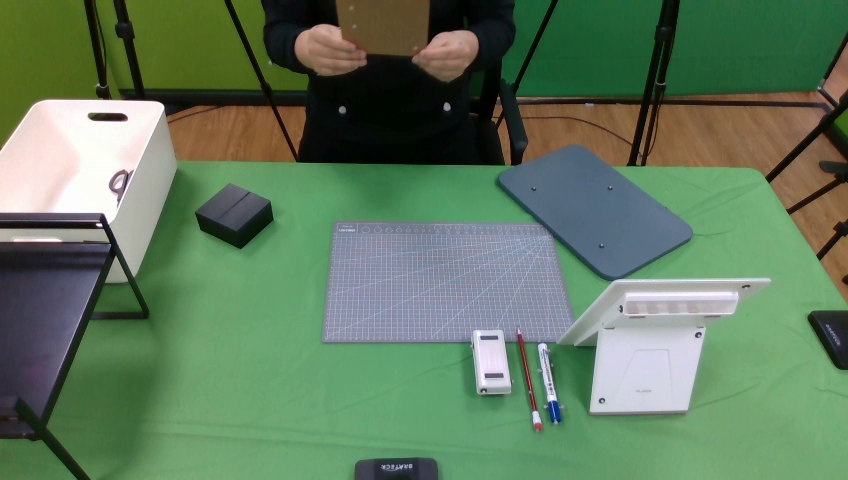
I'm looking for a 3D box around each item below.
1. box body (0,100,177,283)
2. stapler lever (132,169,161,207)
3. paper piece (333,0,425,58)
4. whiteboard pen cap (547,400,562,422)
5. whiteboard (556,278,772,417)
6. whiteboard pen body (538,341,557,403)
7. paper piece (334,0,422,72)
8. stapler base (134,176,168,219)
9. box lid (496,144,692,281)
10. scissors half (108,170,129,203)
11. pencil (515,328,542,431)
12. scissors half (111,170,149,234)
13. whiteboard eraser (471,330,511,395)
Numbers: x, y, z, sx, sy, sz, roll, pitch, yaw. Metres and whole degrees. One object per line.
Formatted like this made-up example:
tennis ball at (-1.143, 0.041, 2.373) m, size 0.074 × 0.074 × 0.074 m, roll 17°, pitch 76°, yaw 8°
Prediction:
box body at (-0.639, -0.095, 1.140) m, size 0.254 × 0.161 × 0.361 m, roll 1°, pitch 46°, yaw -4°
stapler lever at (-0.557, -0.113, 1.218) m, size 0.027 × 0.040 × 0.117 m, roll 1°, pitch 42°, yaw -8°
paper piece at (-0.067, -0.327, 0.931) m, size 0.135 × 0.136 × 0.004 m, roll 2°, pitch 70°, yaw -1°
whiteboard pen cap at (0.205, 0.269, 0.956) m, size 0.018 × 0.018 × 0.033 m, roll 0°, pitch 47°, yaw -5°
whiteboard at (0.347, 0.174, 0.903) m, size 0.217 × 0.306 × 0.143 m, roll 1°, pitch 65°, yaw -4°
whiteboard pen body at (0.205, 0.228, 0.997) m, size 0.017 × 0.017 × 0.140 m, roll 1°, pitch 46°, yaw -3°
paper piece at (-0.068, -0.310, 0.926) m, size 0.136 × 0.138 × 0.008 m, roll 20°, pitch 75°, yaw 2°
stapler base at (-0.558, -0.093, 1.234) m, size 0.041 × 0.024 × 0.129 m, roll 1°, pitch 42°, yaw -8°
box lid at (0.360, -0.074, 1.305) m, size 0.263 × 0.015 × 0.369 m, roll -24°, pitch 52°, yaw -25°
scissors half at (-0.617, -0.077, 1.222) m, size 0.040 × 0.013 × 0.174 m, roll -15°, pitch 52°, yaw -7°
pencil at (0.169, 0.224, 1.002) m, size 0.012 × 0.012 × 0.192 m, roll -1°, pitch 46°, yaw -6°
scissors half at (-0.596, -0.079, 1.223) m, size 0.040 × 0.013 × 0.174 m, roll 5°, pitch 51°, yaw 2°
whiteboard eraser at (0.110, 0.202, 0.998) m, size 0.055 × 0.042 × 0.112 m, roll 1°, pitch 46°, yaw -5°
